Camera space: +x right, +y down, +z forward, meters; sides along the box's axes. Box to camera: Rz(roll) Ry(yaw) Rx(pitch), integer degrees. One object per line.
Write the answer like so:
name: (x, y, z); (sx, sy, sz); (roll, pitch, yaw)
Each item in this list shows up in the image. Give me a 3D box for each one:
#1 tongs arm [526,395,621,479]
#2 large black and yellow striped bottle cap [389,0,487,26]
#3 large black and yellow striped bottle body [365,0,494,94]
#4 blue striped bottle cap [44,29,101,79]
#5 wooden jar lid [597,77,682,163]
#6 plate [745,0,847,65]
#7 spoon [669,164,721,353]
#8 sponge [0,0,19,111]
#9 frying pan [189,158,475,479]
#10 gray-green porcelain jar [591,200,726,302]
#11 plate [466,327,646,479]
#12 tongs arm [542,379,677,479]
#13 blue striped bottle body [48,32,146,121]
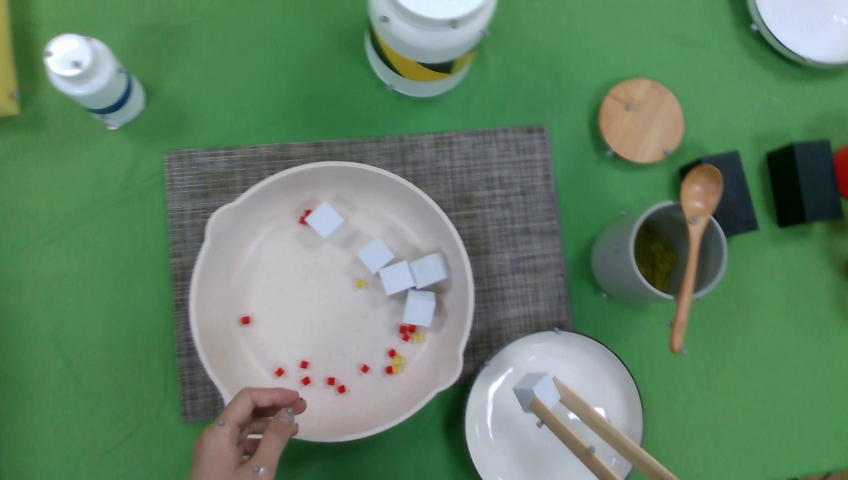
tongs arm: (0.247, 0.274, 0.545); (0.051, 0.027, 0.381); (-24, 56, -39)
large black and yellow striped bottle cap: (0.013, -0.260, 0.569); (0.115, 0.019, 0.114); (1, 85, -6)
large black and yellow striped bottle body: (0.003, -0.249, 0.652); (0.131, 0.184, 0.130); (1, 83, -6)
blue striped bottle cap: (-0.338, -0.180, 0.583); (0.045, 0.020, 0.044); (1, 86, -7)
wooden jar lid: (0.267, -0.148, 0.755); (0.108, 0.020, 0.108); (1, 86, -6)
plate: (0.512, -0.326, 0.792); (0.209, 0.038, 0.208); (1, 84, -6)
spoon: (0.269, 0.019, 0.614); (0.042, 0.021, 0.193); (10, 87, -8)
sponge: (-0.525, -0.240, 0.648); (0.118, 0.061, 0.206); (-11, 86, -8)
frying pan: (-0.150, 0.142, 0.629); (0.307, 0.103, 0.486); (36, 73, -1)
gray-green porcelain jar: (0.255, 0.017, 0.683); (0.106, 0.126, 0.105); (1, 84, -6)
plate: (0.148, 0.202, 0.694); (0.208, 0.039, 0.207); (1, 85, -7)
tongs arm: (0.262, 0.266, 0.559); (0.384, 0.028, 0.028); (40, 41, 23)
blue striped bottle body: (-0.343, -0.173, 0.633); (0.063, 0.121, 0.063); (1, 83, -6)
